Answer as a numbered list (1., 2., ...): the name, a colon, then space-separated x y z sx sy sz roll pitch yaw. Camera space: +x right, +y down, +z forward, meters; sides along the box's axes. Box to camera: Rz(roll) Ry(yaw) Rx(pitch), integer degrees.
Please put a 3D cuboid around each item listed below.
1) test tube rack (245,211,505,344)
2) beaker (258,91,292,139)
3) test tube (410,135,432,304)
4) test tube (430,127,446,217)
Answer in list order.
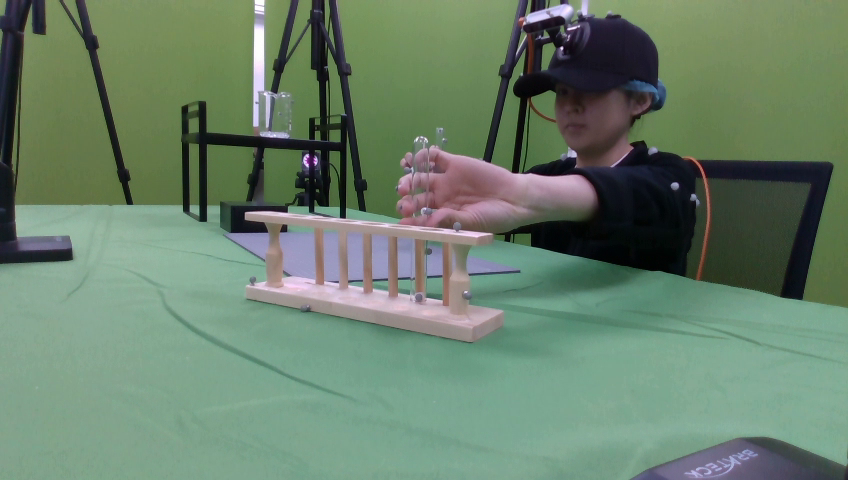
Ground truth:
1. test tube rack: -0.049 0.025 0.547 0.241 0.085 0.067 7 8 29
2. beaker: -0.331 -0.276 1.343 0.074 0.100 0.083 0 8 -20
3. test tube: -0.002 -0.017 0.537 0.017 0.150 0.017 2 8 0
4. test tube: 0.022 -0.112 1.008 0.017 0.150 0.017 5 9 0
